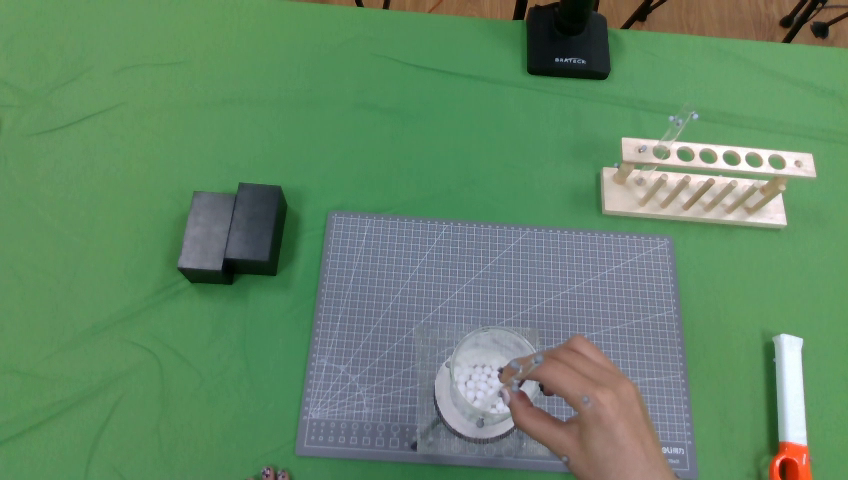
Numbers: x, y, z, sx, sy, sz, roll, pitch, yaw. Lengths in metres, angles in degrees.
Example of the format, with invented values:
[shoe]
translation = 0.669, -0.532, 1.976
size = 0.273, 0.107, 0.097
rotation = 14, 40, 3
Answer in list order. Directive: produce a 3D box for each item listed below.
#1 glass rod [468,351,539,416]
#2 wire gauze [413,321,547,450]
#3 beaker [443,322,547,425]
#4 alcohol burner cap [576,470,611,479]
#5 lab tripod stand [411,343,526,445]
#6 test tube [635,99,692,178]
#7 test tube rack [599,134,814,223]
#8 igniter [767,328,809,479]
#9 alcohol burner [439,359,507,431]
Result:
[glass rod]
translation = 0.056, 0.116, 0.473
size = 0.008, 0.201, 0.008
rotation = 4, 64, -7
[wire gauze]
translation = 0.051, 0.136, 0.576
size = 0.125, 0.011, 0.120
rotation = 1, 65, -1
[beaker]
translation = 0.057, 0.121, 0.530
size = 0.084, 0.101, 0.073
rotation = 0, 67, -3
[alcohol burner cap]
translation = 0.186, 0.265, 0.655
size = 0.034, 0.048, 0.033
rotation = 1, 66, -2
[lab tripod stand]
translation = 0.048, 0.165, 0.635
size = 0.148, 0.132, 0.147
rotation = 1, 66, -1
[test tube]
translation = 0.290, -0.120, 0.743
size = 0.017, 0.151, 0.017
rotation = 1, 64, -2
[test tube rack]
translation = 0.360, -0.077, 0.783
size = 0.242, 0.086, 0.066
rotation = 4, 67, -1
[igniter]
translation = 0.416, 0.236, 0.688
size = 0.057, 0.025, 0.274
rotation = 15, 67, -8
[alcohol burner]
translation = 0.054, 0.162, 0.647
size = 0.078, 0.120, 0.077
rotation = 2, 66, -4
